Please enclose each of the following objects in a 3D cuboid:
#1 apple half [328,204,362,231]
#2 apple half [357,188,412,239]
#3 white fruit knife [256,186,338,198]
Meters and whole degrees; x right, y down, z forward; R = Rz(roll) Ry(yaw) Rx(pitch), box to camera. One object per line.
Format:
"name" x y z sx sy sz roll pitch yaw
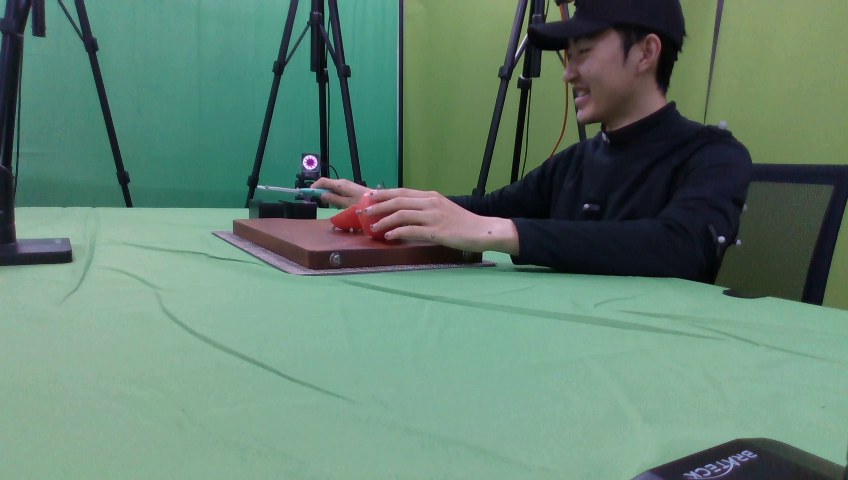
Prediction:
"apple half" -0.107 -0.033 0.955 0.081 0.032 0.081 -18 -6 -1
"apple half" -0.050 -0.037 0.873 0.081 0.074 0.053 0 10 -40
"white fruit knife" -0.263 -0.103 1.281 0.027 0.016 0.208 -15 -11 42
